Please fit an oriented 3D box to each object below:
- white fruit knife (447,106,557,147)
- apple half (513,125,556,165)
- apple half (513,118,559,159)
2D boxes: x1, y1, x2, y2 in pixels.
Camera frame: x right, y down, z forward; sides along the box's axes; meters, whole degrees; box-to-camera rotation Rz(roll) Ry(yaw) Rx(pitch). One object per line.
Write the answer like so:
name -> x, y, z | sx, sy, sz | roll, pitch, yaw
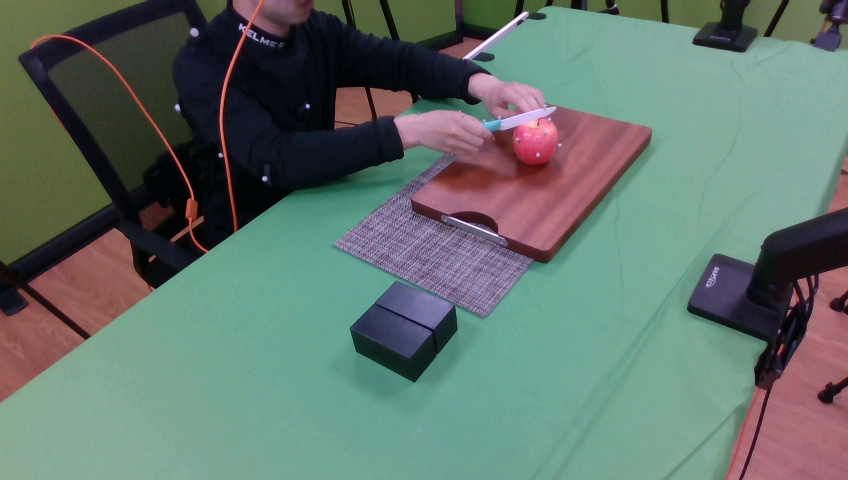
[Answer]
white fruit knife -> 0.130, -0.199, 1.046 | 0.206, 0.027, 0.016 | -13, 49, 24
apple half -> 0.185, -0.157, 1.040 | 0.081, 0.081, 0.033 | 14, 40, 23
apple half -> 0.202, -0.180, 1.067 | 0.080, 0.075, 0.053 | 11, 39, 26
